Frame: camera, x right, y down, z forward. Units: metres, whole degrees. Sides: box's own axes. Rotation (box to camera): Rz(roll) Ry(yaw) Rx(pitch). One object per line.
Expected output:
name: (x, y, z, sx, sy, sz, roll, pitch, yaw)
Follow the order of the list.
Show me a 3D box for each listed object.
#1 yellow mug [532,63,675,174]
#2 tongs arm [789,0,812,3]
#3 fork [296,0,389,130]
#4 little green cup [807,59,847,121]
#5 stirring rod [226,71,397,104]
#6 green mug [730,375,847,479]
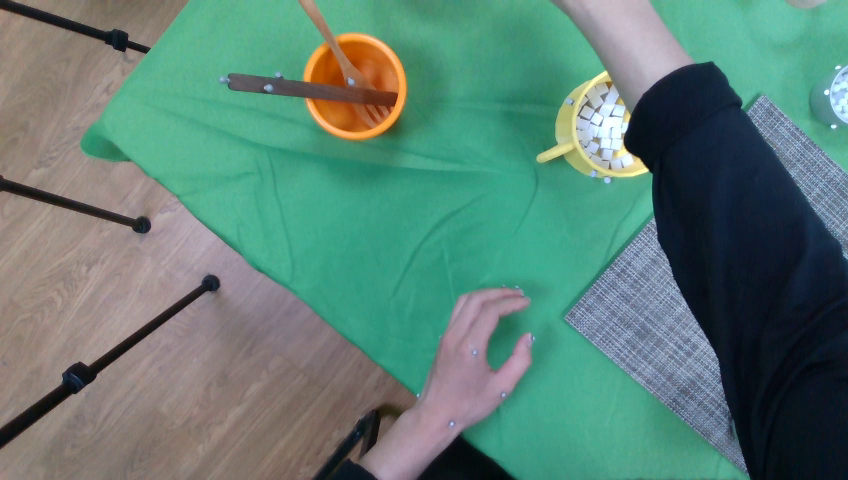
yellow mug: (0.166, -0.107, 0.583, 0.131, 0.064, 0.100, -24, 97, 3)
tongs arm: (0.271, -0.392, 0.533, 0.051, 0.026, 0.385, -21, 94, -2)
fork: (-0.084, -0.175, 0.528, 0.028, 0.018, 0.209, -34, 139, 1)
little green cup: (0.414, -0.146, 0.597, 0.061, 0.038, 0.061, 0, 97, 0)
stirring rod: (-0.092, -0.134, 0.538, 0.177, 0.006, 0.014, -6, 100, -42)
green mug: (0.382, 0.180, 0.598, 0.125, 0.105, 0.092, -33, 95, 3)
